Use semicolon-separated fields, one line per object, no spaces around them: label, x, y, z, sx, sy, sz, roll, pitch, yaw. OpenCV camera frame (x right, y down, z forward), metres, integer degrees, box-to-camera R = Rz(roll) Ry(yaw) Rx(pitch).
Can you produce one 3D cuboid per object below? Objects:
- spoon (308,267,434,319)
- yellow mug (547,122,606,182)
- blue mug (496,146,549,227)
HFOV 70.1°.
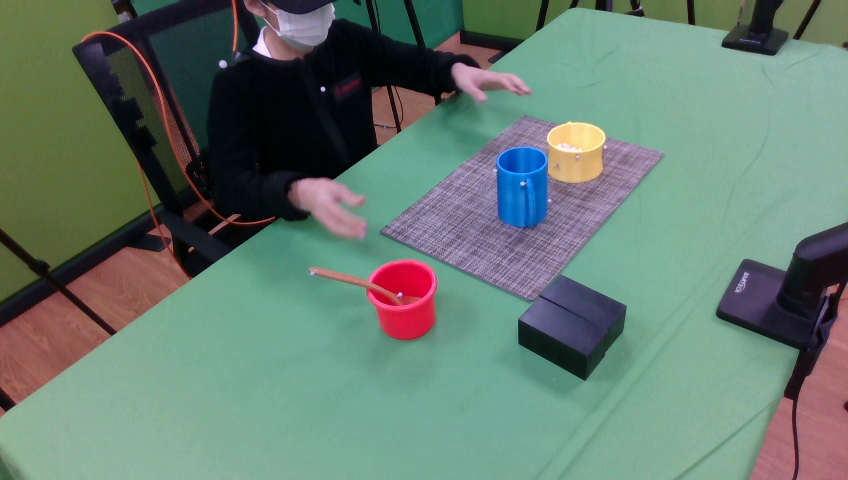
spoon;-0.067;0.068;0.812;0.195;0.021;0.041;26;34;-31
yellow mug;0.270;-0.167;1.090;0.100;0.064;0.130;-6;39;3
blue mug;0.162;-0.076;0.969;0.082;0.106;0.116;-9;40;-1
